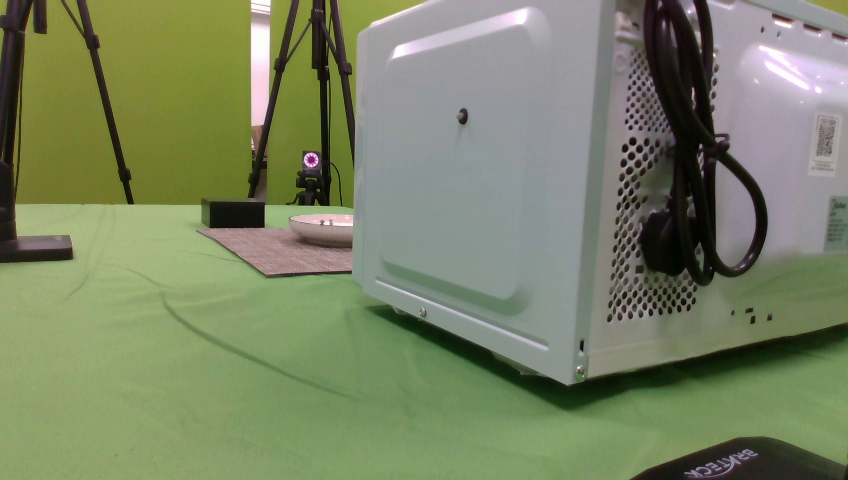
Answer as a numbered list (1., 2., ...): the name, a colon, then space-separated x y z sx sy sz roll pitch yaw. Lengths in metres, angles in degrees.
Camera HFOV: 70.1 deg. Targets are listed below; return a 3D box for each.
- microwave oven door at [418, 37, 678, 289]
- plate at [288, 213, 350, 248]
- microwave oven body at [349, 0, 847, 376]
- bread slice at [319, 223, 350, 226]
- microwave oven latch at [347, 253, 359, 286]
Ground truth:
1. microwave oven door: 0.159 -0.079 0.684 0.358 0.243 0.039 -2 9 -32
2. plate: -0.122 -0.017 1.008 0.209 0.038 0.209 3 8 0
3. microwave oven body: 0.199 -0.053 0.539 0.444 0.260 0.324 -1 8 -32
4. bread slice: -0.122 -0.015 1.004 0.131 0.019 0.105 4 7 12
5. microwave oven latch: -0.034 0.028 0.581 0.079 0.029 0.030 -1 7 -31
